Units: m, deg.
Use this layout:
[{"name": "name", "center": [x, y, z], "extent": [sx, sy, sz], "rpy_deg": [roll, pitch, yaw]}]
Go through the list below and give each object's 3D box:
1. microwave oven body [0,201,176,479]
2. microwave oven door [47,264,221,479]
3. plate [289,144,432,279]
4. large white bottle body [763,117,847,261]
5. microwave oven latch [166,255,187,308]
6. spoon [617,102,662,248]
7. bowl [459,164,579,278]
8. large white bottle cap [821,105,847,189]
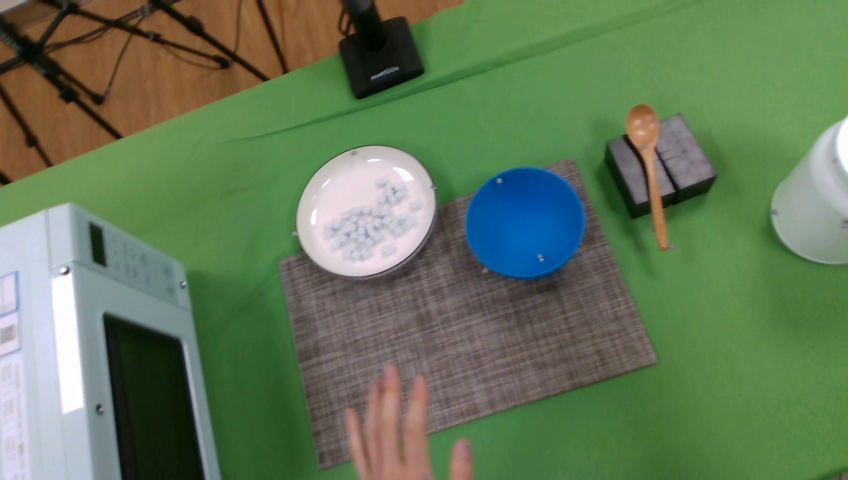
[{"name": "microwave oven body", "center": [-0.469, 0.239, 0.729], "extent": [0.326, 0.262, 0.438], "rpy_deg": [-21, 69, 3]}, {"name": "microwave oven door", "center": [-0.321, 0.221, 0.700], "extent": [0.039, 0.246, 0.353], "rpy_deg": [-21, 68, 4]}, {"name": "plate", "center": [-0.089, -0.039, 0.869], "extent": [0.209, 0.038, 0.207], "rpy_deg": [-4, 67, 11]}, {"name": "large white bottle body", "center": [0.481, -0.063, 0.686], "extent": [0.130, 0.186, 0.129], "rpy_deg": [-4, 70, 10]}, {"name": "microwave oven latch", "center": [-0.367, 0.063, 0.873], "extent": [0.030, 0.030, 0.078], "rpy_deg": [-21, 69, 3]}, {"name": "spoon", "center": [0.280, -0.084, 0.773], "extent": [0.041, 0.022, 0.192], "rpy_deg": [-6, 75, 4]}, {"name": "bowl", "center": [0.125, -0.014, 0.795], "extent": [0.151, 0.077, 0.150], "rpy_deg": [-4, 71, 10]}, {"name": "large white bottle cap", "center": [0.464, -0.092, 0.607], "extent": [0.114, 0.018, 0.114], "rpy_deg": [-3, 70, 9]}]
